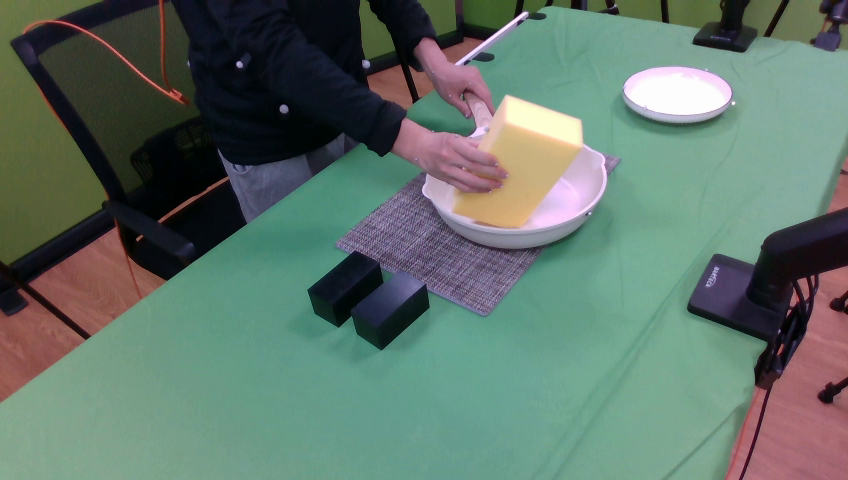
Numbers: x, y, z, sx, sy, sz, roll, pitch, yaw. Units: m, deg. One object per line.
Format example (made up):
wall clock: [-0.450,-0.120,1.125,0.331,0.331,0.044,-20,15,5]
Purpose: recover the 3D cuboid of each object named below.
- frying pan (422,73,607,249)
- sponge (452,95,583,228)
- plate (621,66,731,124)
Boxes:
frying pan: [0.130,-0.161,1.069,0.307,0.103,0.484,-10,49,-5]
sponge: [0.134,-0.107,0.908,0.119,0.206,0.060,16,52,-12]
plate: [0.503,-0.288,1.221,0.207,0.039,0.206,-4,41,4]
